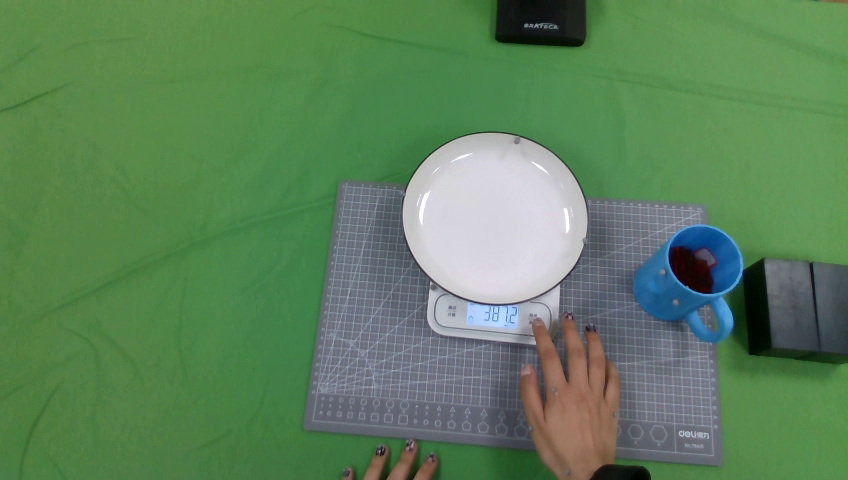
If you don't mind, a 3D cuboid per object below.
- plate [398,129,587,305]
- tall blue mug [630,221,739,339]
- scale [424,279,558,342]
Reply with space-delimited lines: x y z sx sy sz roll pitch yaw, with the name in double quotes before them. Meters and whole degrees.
"plate" 0.076 -0.025 0.682 0.209 0.038 0.207 0 72 0
"tall blue mug" 0.288 0.044 0.650 0.106 0.108 0.077 40 76 13
"scale" 0.083 0.013 0.704 0.148 0.032 0.199 6 72 3
